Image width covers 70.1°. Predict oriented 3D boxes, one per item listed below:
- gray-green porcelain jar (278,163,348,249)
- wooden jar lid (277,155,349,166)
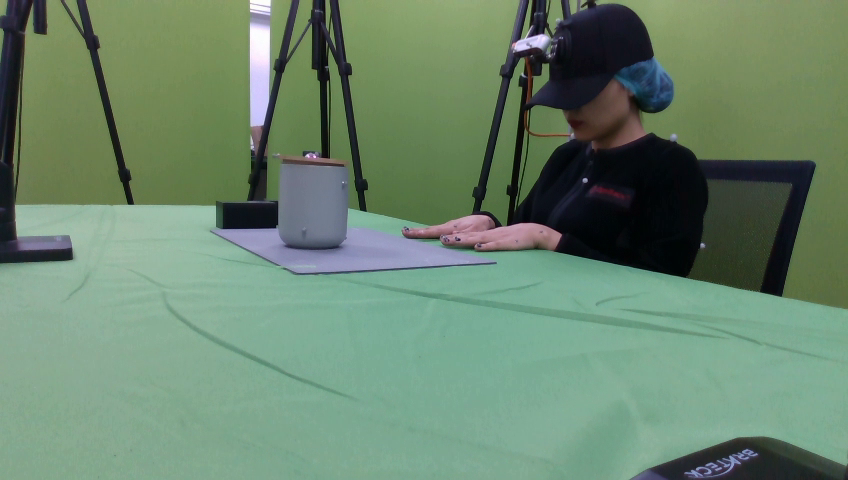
[{"bbox_3d":[-0.171,-0.053,0.934,0.106,0.126,0.106,2,7,0],"label":"gray-green porcelain jar"},{"bbox_3d":[-0.170,-0.117,0.925,0.108,0.020,0.108,4,7,0],"label":"wooden jar lid"}]
